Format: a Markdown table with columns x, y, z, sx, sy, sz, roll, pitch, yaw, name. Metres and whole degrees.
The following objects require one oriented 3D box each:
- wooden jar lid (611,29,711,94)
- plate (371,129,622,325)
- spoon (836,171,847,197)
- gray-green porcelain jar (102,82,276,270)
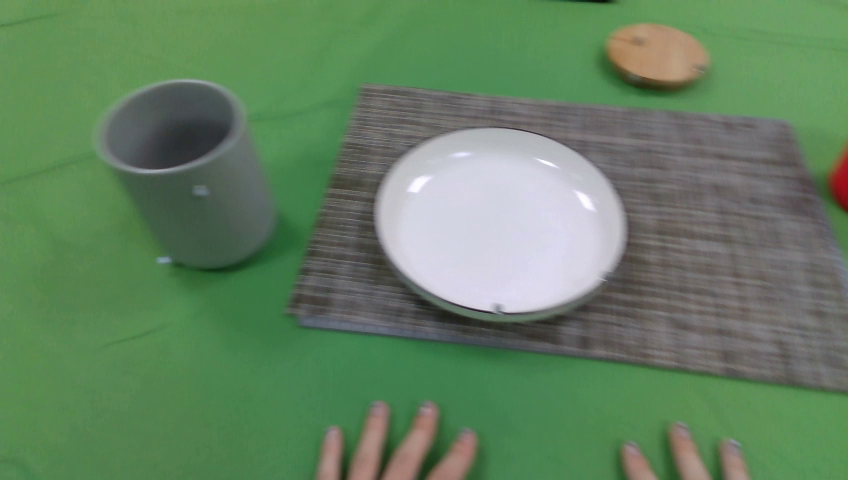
| x | y | z | sx | sy | sz | roll | pitch | yaw | name |
| --- | --- | --- | --- | --- | --- | --- | --- | --- | --- |
| 0.265 | -0.200 | 0.682 | 0.108 | 0.021 | 0.107 | 0 | 53 | 0 | wooden jar lid |
| 0.060 | -0.013 | 0.518 | 0.208 | 0.039 | 0.205 | 0 | 52 | 0 | plate |
| 0.454 | -0.076 | 0.502 | 0.193 | 0.022 | 0.041 | -26 | 38 | 39 | spoon |
| -0.182 | -0.045 | 0.494 | 0.106 | 0.127 | 0.105 | 0 | 51 | 0 | gray-green porcelain jar |
